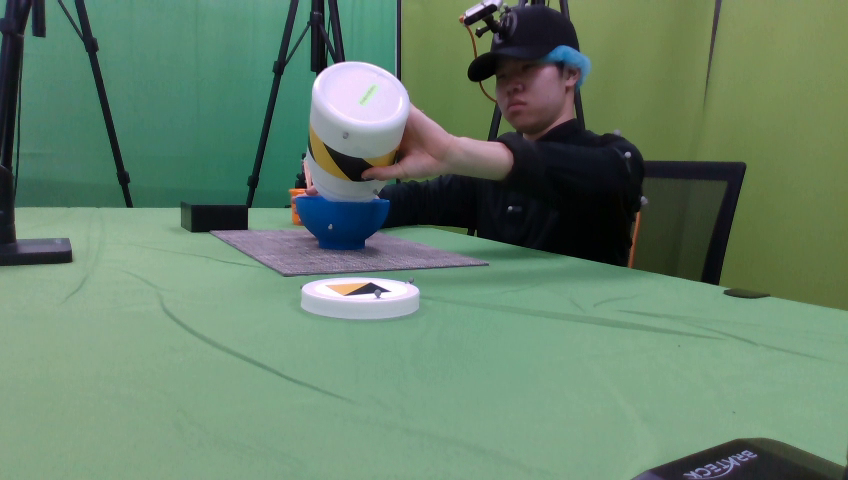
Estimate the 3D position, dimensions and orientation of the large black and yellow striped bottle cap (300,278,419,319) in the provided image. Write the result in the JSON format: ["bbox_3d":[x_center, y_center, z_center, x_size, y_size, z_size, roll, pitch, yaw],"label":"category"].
[{"bbox_3d":[-0.062,0.055,0.588,0.115,0.019,0.115,1,6,0],"label":"large black and yellow striped bottle cap"}]

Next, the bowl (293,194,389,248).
[{"bbox_3d":[-0.132,-0.030,0.962,0.151,0.077,0.151,2,7,0],"label":"bowl"}]

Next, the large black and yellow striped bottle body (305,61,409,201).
[{"bbox_3d":[-0.102,-0.146,0.871,0.131,0.130,0.184,0,-34,-16],"label":"large black and yellow striped bottle body"}]

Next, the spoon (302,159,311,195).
[{"bbox_3d":[-0.257,-0.113,1.341,0.042,0.193,0.021,4,-38,-19],"label":"spoon"}]
